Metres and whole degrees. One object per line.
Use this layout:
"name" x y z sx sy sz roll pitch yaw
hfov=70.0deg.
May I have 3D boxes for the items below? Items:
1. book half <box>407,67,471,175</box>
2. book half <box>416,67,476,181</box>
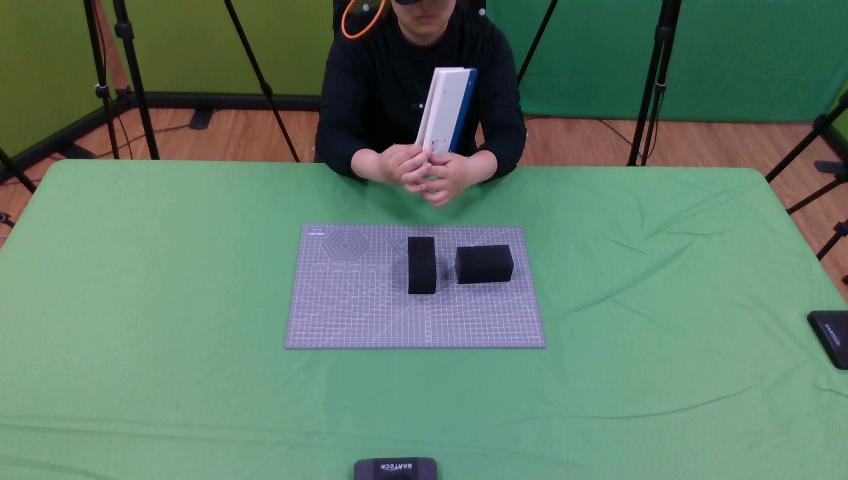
"book half" 0.030 -0.231 1.176 0.007 0.210 0.143 28 28 23
"book half" 0.041 -0.226 1.175 0.016 0.211 0.148 25 27 19
